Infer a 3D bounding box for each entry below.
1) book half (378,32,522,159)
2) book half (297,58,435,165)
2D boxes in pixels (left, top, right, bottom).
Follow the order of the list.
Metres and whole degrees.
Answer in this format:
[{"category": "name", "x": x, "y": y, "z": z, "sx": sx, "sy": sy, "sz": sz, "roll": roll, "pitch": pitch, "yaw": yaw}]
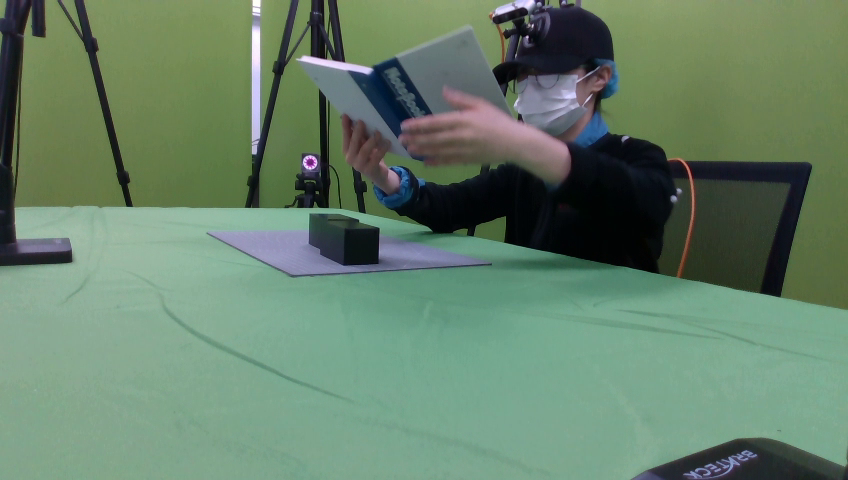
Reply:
[{"category": "book half", "x": 0.044, "y": -0.195, "z": 0.862, "sx": 0.143, "sy": 0.007, "sz": 0.211, "roll": -14, "pitch": -34, "yaw": 19}, {"category": "book half", "x": -0.083, "y": -0.194, "z": 0.919, "sx": 0.148, "sy": 0.016, "sz": 0.211, "roll": 21, "pitch": -16, "yaw": 35}]
